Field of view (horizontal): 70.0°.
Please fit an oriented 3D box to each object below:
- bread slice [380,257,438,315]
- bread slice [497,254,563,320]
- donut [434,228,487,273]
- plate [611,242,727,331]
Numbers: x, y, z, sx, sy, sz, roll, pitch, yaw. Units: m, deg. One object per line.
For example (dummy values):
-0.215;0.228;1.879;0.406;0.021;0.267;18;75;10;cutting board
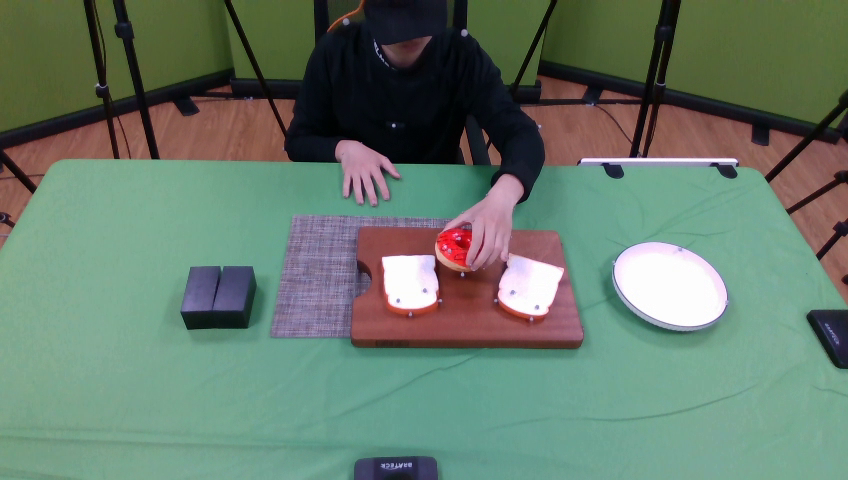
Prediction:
-0.024;0.079;1.087;0.105;0.019;0.130;-3;44;-5;bread slice
0.189;0.087;1.095;0.107;0.018;0.134;15;45;10;bread slice
0.066;0.019;1.083;0.099;0.048;0.098;10;40;-9;donut
0.455;0.090;1.138;0.209;0.038;0.208;3;45;-2;plate
